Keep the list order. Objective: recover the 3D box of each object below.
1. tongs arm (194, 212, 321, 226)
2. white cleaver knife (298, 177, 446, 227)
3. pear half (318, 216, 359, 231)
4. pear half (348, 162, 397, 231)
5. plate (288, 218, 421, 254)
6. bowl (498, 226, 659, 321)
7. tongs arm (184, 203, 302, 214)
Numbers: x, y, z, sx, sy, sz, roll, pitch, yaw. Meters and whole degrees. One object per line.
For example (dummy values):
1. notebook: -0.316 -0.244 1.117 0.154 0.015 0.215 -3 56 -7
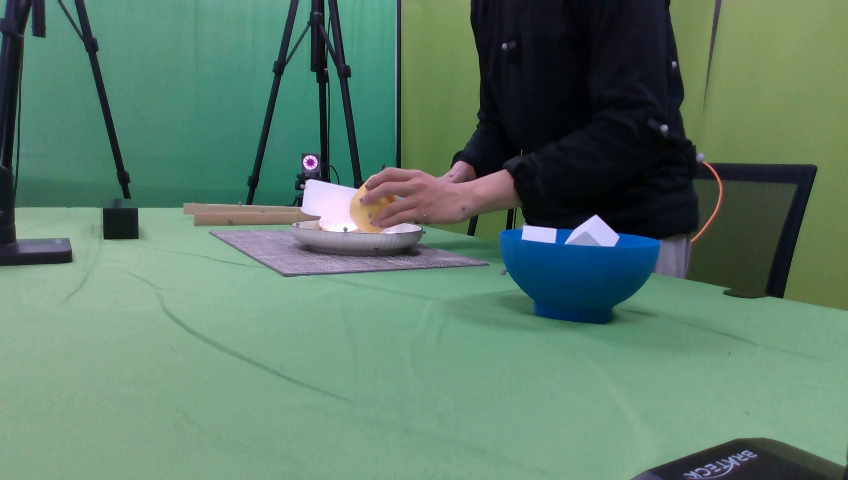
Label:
1. tongs arm: -0.298 -0.049 1.307 0.390 0.028 0.028 -3 8 -37
2. white cleaver knife: -0.080 -0.055 1.019 0.288 0.066 0.021 6 -8 -36
3. pear half: -0.143 -0.022 1.012 0.071 0.031 0.087 -2 26 -25
4. pear half: -0.067 -0.062 0.908 0.055 0.110 0.077 35 36 29
5. plate: -0.109 -0.007 0.956 0.208 0.039 0.207 2 7 0
6. bowl: 0.145 0.032 0.585 0.151 0.077 0.151 2 7 0
7. tongs arm: -0.337 -0.065 1.376 0.387 0.026 0.050 0 9 -25
